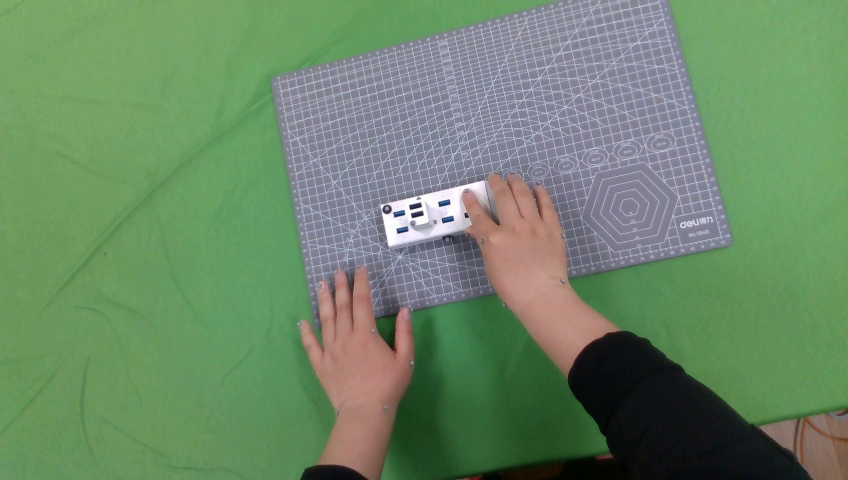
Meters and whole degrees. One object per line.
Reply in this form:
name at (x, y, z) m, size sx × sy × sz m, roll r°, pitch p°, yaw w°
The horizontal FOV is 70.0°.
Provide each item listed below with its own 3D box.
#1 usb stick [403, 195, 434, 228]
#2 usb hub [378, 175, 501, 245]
usb stick at (-0.004, -0.028, 0.625) m, size 0.021 × 0.059 × 0.027 m, roll -16°, pitch 79°, yaw 7°
usb hub at (0.016, -0.032, 0.652) m, size 0.125 × 0.025 × 0.049 m, roll -13°, pitch 82°, yaw 7°
